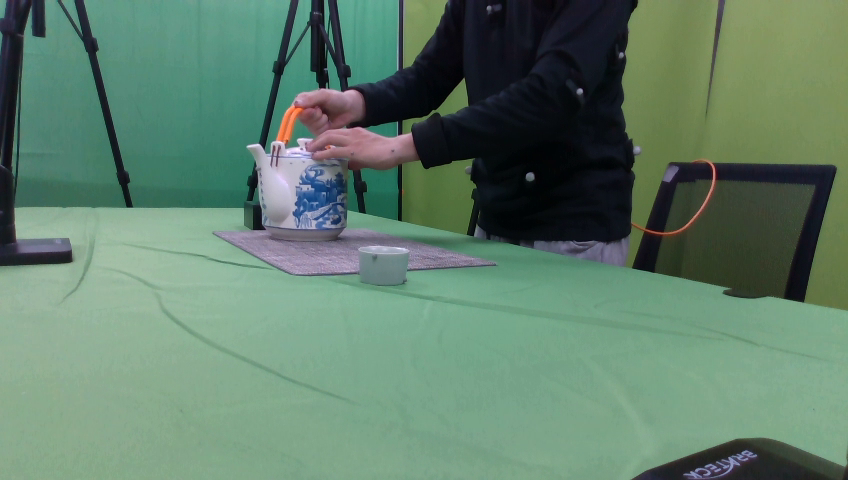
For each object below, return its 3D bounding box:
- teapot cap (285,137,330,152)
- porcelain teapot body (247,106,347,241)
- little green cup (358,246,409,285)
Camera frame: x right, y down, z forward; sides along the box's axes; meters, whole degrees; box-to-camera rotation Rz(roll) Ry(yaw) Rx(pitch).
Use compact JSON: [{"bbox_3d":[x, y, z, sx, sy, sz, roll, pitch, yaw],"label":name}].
[{"bbox_3d":[-0.204,-0.155,1.041,0.085,0.044,0.085,-1,9,0],"label":"teapot cap"},{"bbox_3d":[-0.219,-0.114,1.020,0.144,0.225,0.206,6,9,26],"label":"porcelain teapot body"},{"bbox_3d":[-0.048,0.030,0.707,0.061,0.038,0.061,2,8,0],"label":"little green cup"}]
